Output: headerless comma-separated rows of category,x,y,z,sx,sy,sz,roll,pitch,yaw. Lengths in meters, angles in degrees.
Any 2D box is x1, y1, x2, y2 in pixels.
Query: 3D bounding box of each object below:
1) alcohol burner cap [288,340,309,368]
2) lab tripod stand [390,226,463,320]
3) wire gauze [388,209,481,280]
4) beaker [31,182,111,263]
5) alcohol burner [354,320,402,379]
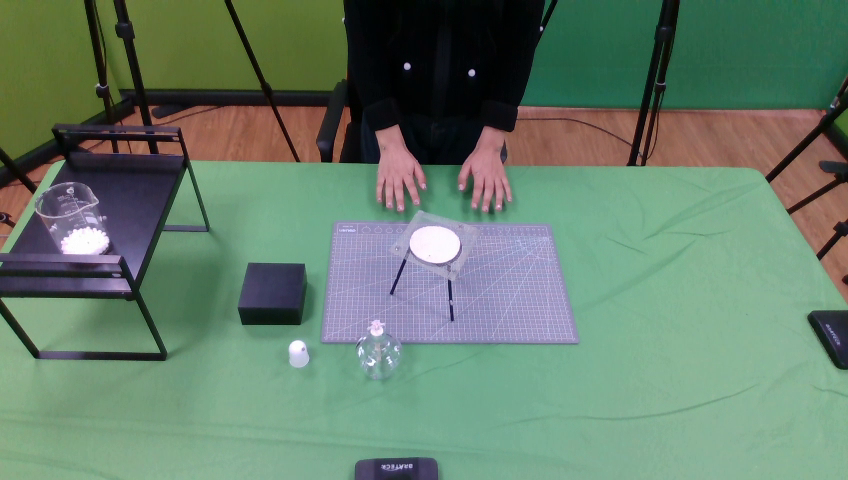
alcohol burner cap,-0.207,0.183,0.991,0.034,0.048,0.033,3,47,-3
lab tripod stand,0.014,0.053,1.063,0.148,0.132,0.147,1,48,-1
wire gauze,0.018,0.002,1.019,0.125,0.011,0.121,21,49,16
beaker,-0.502,-0.022,0.877,0.084,0.101,0.073,-2,47,-7
alcohol burner,-0.074,0.169,0.964,0.078,0.120,0.077,1,46,-1
